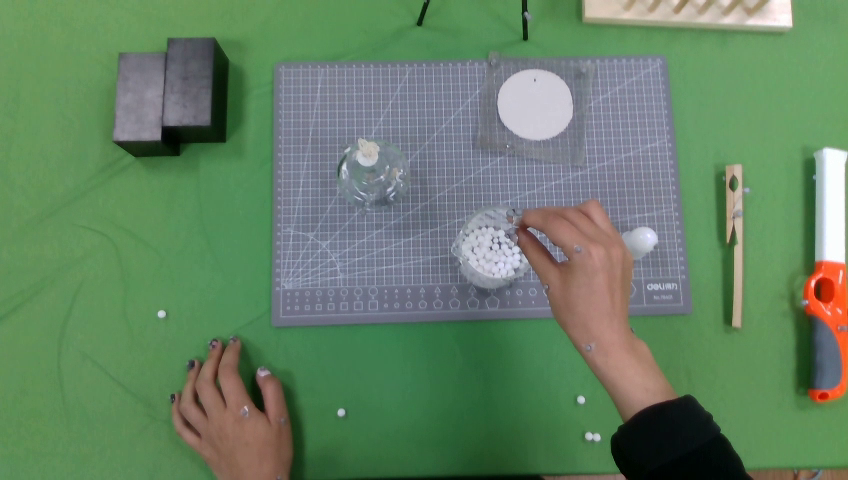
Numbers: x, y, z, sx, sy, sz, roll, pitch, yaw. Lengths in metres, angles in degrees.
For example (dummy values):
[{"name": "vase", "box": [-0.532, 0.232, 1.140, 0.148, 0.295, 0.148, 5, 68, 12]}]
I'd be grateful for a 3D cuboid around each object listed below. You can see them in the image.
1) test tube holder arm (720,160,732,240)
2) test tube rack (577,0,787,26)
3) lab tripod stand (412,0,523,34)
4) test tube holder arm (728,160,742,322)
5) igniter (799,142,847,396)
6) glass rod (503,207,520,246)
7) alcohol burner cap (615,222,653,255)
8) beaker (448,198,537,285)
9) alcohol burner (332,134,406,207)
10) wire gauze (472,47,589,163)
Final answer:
[{"name": "test tube holder arm", "box": [0.335, -0.044, 0.670, 0.010, 0.015, 0.087, -4, 79, 34]}, {"name": "test tube rack", "box": [0.302, -0.296, 0.676, 0.242, 0.085, 0.066, 2, 80, -1]}, {"name": "lab tripod stand", "box": [0.055, -0.292, 0.646, 0.148, 0.132, 0.148, 0, 82, -1]}, {"name": "test tube holder arm", "box": [0.338, 0.000, 0.659, 0.013, 0.015, 0.177, -5, 79, 34]}, {"name": "igniter", "box": [0.432, 0.029, 0.654, 0.057, 0.025, 0.275, 8, 81, -10]}, {"name": "glass rod", "box": [0.079, -0.010, 0.561, 0.008, 0.200, 0.008, -1, 82, 5]}, {"name": "alcohol burner cap", "box": [0.226, -0.004, 0.645, 0.034, 0.048, 0.033, 0, 80, -1]}, {"name": "beaker", "box": [0.064, 0.007, 0.611, 0.084, 0.100, 0.073, -10, 80, -2]}, {"name": "alcohol burner", "box": [-0.058, -0.075, 0.614, 0.078, 0.119, 0.077, 0, 79, 1]}, {"name": "wire gauze", "box": [0.122, -0.156, 0.685, 0.125, 0.011, 0.121, 9, 82, 0]}]
